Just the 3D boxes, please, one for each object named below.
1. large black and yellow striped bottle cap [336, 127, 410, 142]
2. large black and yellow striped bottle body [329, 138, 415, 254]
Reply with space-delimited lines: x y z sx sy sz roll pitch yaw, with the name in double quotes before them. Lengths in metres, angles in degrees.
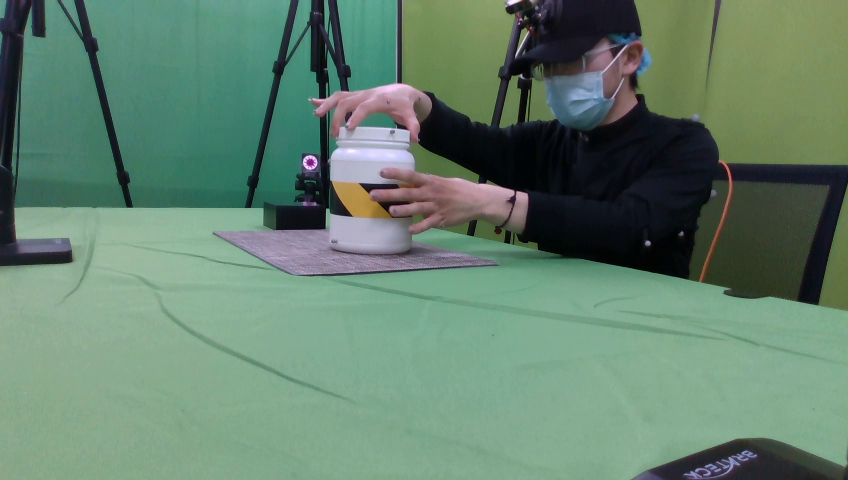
"large black and yellow striped bottle cap" -0.078 -0.161 0.926 0.115 0.019 0.115 2 8 0
"large black and yellow striped bottle body" -0.080 -0.077 0.936 0.131 0.184 0.130 2 8 0
